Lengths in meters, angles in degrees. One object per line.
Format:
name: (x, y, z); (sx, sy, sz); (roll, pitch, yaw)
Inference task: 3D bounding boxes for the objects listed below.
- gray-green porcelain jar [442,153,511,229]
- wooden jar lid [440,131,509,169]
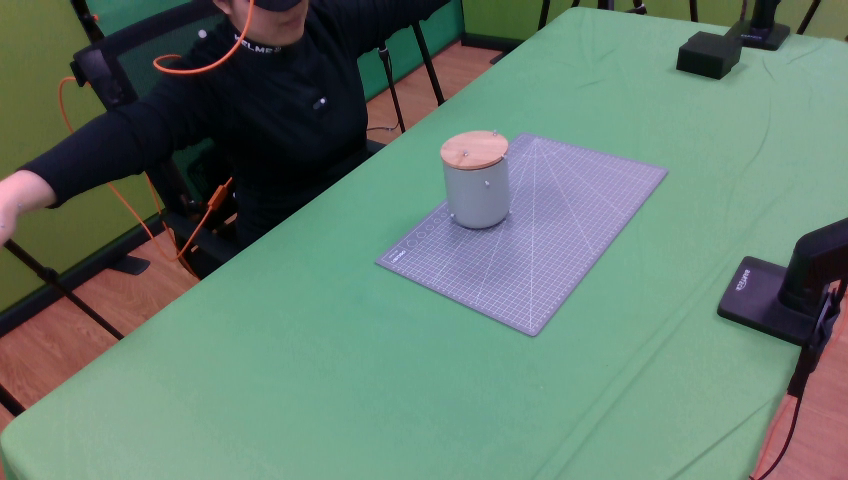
gray-green porcelain jar: (0.088, -0.091, 0.988); (0.106, 0.127, 0.105); (-5, 40, 5)
wooden jar lid: (0.079, -0.137, 0.948); (0.108, 0.021, 0.108); (-5, 38, 5)
